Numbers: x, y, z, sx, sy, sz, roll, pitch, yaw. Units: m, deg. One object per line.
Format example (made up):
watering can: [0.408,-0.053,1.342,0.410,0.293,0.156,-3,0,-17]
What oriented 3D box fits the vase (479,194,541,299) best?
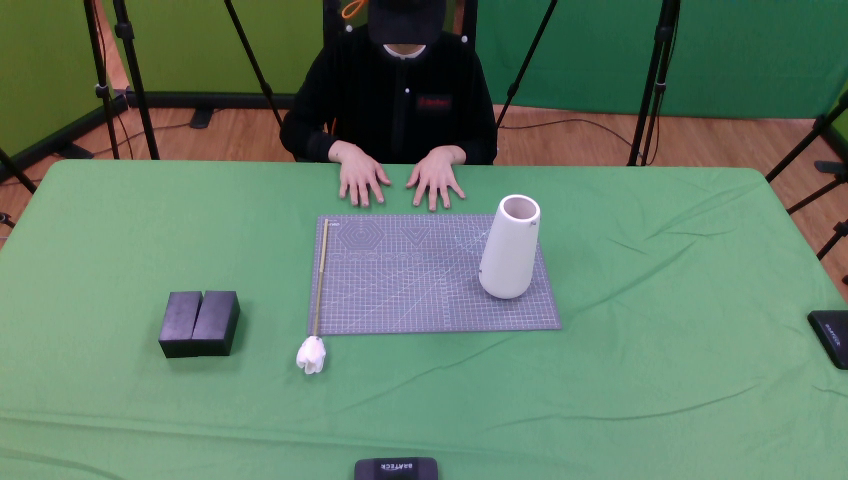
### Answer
vase: [0.152,0.015,1.066,0.098,0.201,0.097,1,47,-1]

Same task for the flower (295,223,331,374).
flower: [-0.190,0.087,1.104,0.044,0.038,0.359,28,35,-23]
